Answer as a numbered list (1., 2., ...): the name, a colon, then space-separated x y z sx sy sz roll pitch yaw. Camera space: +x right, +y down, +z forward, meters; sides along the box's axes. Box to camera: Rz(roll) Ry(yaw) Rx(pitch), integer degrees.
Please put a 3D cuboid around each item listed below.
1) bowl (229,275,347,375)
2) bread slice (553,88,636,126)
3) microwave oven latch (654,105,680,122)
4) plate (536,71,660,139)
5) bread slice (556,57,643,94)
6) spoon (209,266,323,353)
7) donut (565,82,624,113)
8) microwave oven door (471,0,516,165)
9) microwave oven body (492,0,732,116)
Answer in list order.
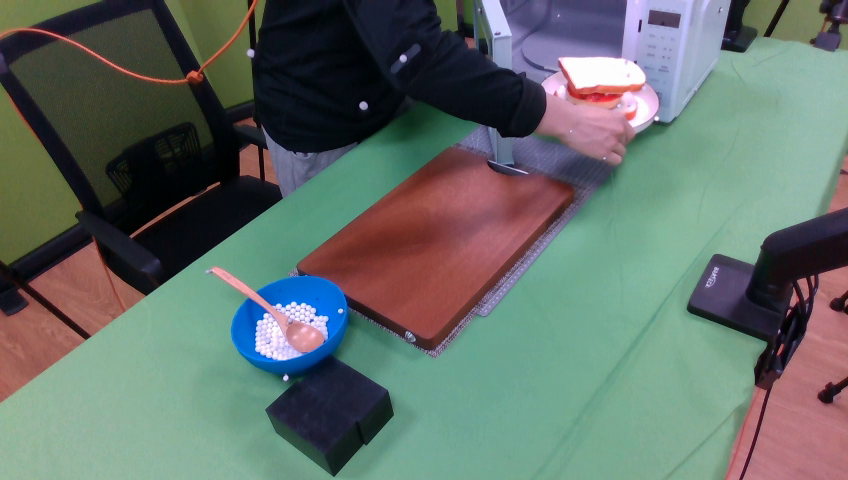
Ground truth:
1. bowl: -0.171 0.125 0.801 0.151 0.077 0.150 -4 40 4
2. bread slice: 0.301 -0.240 1.061 0.132 0.019 0.104 -8 47 -2
3. microwave oven latch: 0.444 -0.249 1.157 0.078 0.029 0.030 22 49 30
4. plate: 0.299 -0.236 1.055 0.208 0.039 0.206 -1 45 2
5. bread slice: 0.297 -0.278 1.015 0.135 0.018 0.106 -5 44 -10
6. spoon: -0.214 0.088 0.806 0.193 0.021 0.042 37 55 11
7. donut: 0.291 -0.256 1.035 0.099 0.048 0.098 -3 48 4
8. microwave oven door: 0.128 -0.341 1.153 0.039 0.245 0.354 -7 41 2
9. microwave oven body: 0.377 -0.462 1.267 0.438 0.261 0.327 21 49 30
